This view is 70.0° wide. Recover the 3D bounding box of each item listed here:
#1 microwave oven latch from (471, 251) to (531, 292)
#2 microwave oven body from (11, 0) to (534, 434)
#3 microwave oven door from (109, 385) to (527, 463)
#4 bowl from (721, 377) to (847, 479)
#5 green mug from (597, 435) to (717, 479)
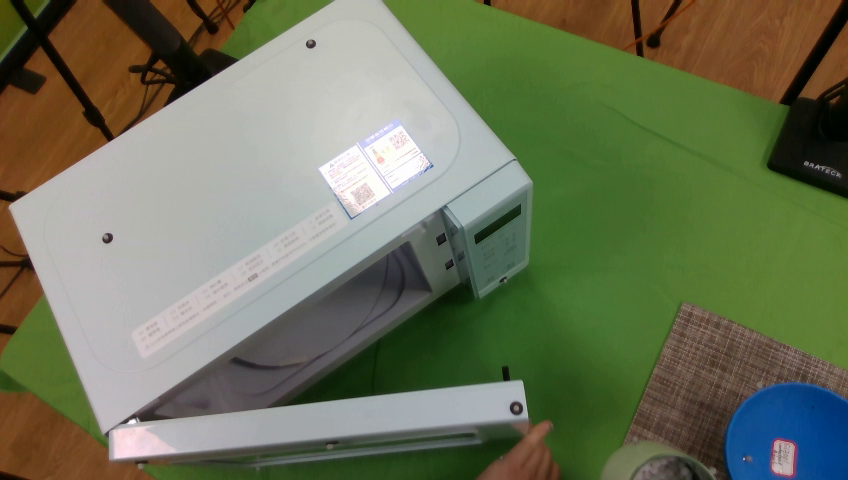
[{"bbox_3d":[0.095,0.030,0.746,0.079,0.030,0.030,-33,69,-4],"label":"microwave oven latch"},{"bbox_3d":[-0.147,-0.015,0.695,0.442,0.262,0.323,-34,69,-4],"label":"microwave oven body"},{"bbox_3d":[-0.077,0.186,0.603,0.355,0.245,0.039,-8,69,5],"label":"microwave oven door"},{"bbox_3d":[0.378,0.222,0.625,0.151,0.077,0.150,-3,69,8],"label":"bowl"},{"bbox_3d":[0.216,0.235,0.532,0.092,0.105,0.124,-34,74,-4],"label":"green mug"}]
